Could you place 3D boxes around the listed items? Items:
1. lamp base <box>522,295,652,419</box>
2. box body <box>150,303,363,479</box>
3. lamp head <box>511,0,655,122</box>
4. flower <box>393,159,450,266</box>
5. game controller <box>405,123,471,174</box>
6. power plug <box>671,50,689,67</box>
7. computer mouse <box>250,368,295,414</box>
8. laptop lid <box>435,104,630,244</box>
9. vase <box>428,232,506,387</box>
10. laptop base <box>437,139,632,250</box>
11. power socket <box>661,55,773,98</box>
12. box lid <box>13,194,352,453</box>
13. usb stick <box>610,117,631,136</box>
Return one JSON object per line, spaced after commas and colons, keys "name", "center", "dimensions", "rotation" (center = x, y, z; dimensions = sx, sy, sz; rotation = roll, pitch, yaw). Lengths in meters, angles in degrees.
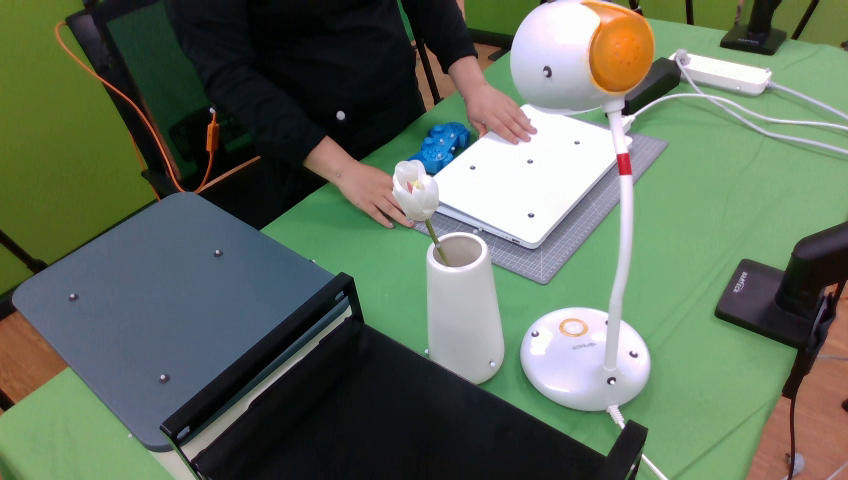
{"name": "lamp base", "center": [0.201, 0.095, 0.710], "dimensions": [0.161, 0.181, 0.178], "rotation": [-16, 43, -10]}
{"name": "box body", "center": [-0.284, 0.123, 0.765], "dimensions": [0.361, 0.161, 0.255], "rotation": [25, 49, 33]}
{"name": "lamp head", "center": [0.155, -0.168, 0.563], "dimensions": [0.113, 0.113, 0.122], "rotation": [-18, 23, -12]}
{"name": "flower", "center": [0.028, 0.035, 0.665], "dimensions": [0.043, 0.364, 0.038], "rotation": [34, 73, 29]}
{"name": "game controller", "center": [0.028, -0.182, 1.169], "dimensions": [0.096, 0.052, 0.155], "rotation": [16, 45, 17]}
{"name": "power plug", "center": [0.540, -0.379, 1.302], "dimensions": [0.073, 0.053, 0.035], "rotation": [-31, 46, -23]}
{"name": "computer mouse", "center": [-0.196, 0.182, 0.771], "dimensions": [0.063, 0.041, 0.116], "rotation": [-12, 47, -11]}
{"name": "laptop lid", "center": [0.188, -0.135, 1.073], "dimensions": [0.240, 0.013, 0.358], "rotation": [29, 51, 29]}
{"name": "vase", "center": [0.050, 0.087, 0.728], "dimensions": [0.098, 0.201, 0.097], "rotation": [-3, 40, 3]}
{"name": "laptop base", "center": [0.192, -0.117, 1.087], "dimensions": [0.233, 0.023, 0.355], "rotation": [21, 48, 34]}
{"name": "power socket", "center": [0.619, -0.352, 1.289], "dimensions": [0.225, 0.033, 0.072], "rotation": [26, 51, 33]}
{"name": "box lid", "center": [-0.291, 0.067, 0.716], "dimensions": [0.368, 0.015, 0.264], "rotation": [25, 50, 33]}
{"name": "usb stick", "center": [0.369, -0.208, 1.147], "dimensions": [0.021, 0.027, 0.059], "rotation": [25, 56, 33]}
